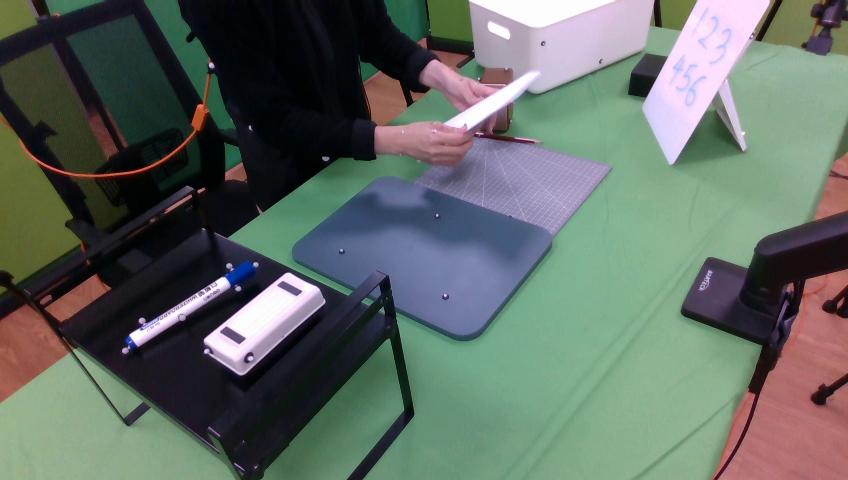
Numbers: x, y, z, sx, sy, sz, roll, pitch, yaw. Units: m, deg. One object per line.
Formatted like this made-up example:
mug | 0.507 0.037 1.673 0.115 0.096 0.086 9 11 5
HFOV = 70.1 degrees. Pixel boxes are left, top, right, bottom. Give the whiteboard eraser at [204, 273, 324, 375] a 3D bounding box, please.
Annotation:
whiteboard eraser | -0.157 0.084 0.605 0.055 0.042 0.113 24 49 30

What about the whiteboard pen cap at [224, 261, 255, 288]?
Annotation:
whiteboard pen cap | -0.207 0.039 0.677 0.033 0.018 0.018 -36 47 -18

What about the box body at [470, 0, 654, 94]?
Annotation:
box body | 0.319 -0.498 1.405 0.365 0.161 0.252 -26 43 -21

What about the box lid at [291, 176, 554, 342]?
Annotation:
box lid | -0.005 0.011 0.972 0.368 0.015 0.264 21 49 30

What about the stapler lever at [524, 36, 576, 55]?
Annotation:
stapler lever | 0.296 -0.456 1.418 0.117 0.040 0.027 4 40 17

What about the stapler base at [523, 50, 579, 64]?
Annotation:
stapler base | 0.301 -0.436 1.434 0.130 0.024 0.041 5 40 16

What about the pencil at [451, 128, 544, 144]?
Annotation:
pencil | 0.145 -0.206 1.204 0.193 0.012 0.012 12 44 20

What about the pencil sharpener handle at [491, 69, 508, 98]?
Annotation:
pencil sharpener handle | 0.155 -0.330 1.254 0.036 0.068 0.030 18 44 3

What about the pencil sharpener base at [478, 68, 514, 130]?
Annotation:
pencil sharpener base | 0.148 -0.286 1.225 0.061 0.107 0.076 5 42 15

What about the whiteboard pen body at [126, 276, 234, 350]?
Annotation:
whiteboard pen body | -0.251 0.070 0.649 0.141 0.017 0.017 -36 48 -26

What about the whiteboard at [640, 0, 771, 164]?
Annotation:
whiteboard | 0.543 -0.299 1.076 0.144 0.305 0.216 12 40 -7
